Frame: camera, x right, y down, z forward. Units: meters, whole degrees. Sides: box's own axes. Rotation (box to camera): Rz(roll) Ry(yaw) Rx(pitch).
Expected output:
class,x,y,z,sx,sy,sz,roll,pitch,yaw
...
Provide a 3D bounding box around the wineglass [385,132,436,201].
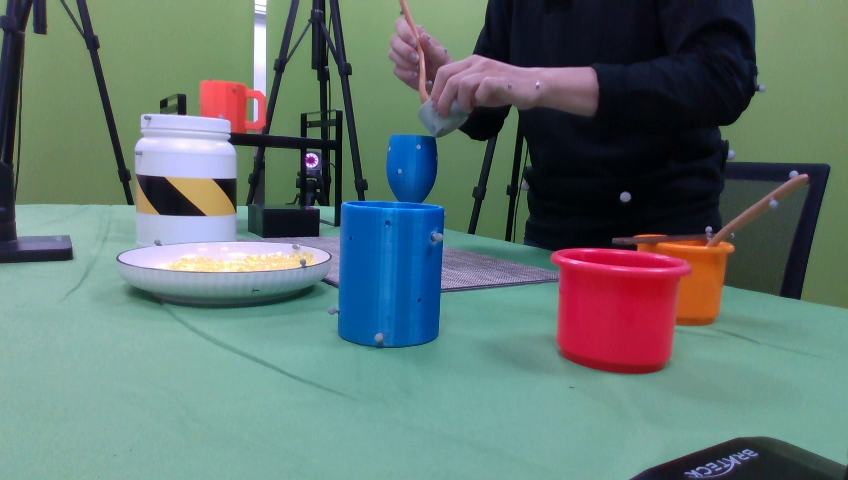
class,x,y,z,sx,sy,sz,roll,pitch,yaw
wineglass,-0.020,-0.061,0.838,0.074,0.172,0.073,2,7,0

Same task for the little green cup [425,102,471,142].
class,x,y,z,sx,sy,sz,roll,pitch,yaw
little green cup,0.030,-0.152,0.786,0.061,0.038,0.061,5,-6,1

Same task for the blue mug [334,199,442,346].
class,x,y,z,sx,sy,sz,roll,pitch,yaw
blue mug,-0.034,0.020,0.498,0.083,0.106,0.116,0,7,-20

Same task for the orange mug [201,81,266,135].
class,x,y,z,sx,sy,sz,roll,pitch,yaw
orange mug,-0.376,-0.260,1.198,0.126,0.101,0.083,-3,8,-6

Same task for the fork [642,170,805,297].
class,x,y,z,sx,sy,sz,roll,pitch,yaw
fork,0.261,0.003,0.545,0.028,0.018,0.207,5,-37,-15

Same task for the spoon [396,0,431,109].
class,x,y,z,sx,sy,sz,roll,pitch,yaw
spoon,-0.010,-0.247,0.800,0.021,0.193,0.042,-14,-10,8

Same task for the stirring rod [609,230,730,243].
class,x,y,z,sx,sy,sz,roll,pitch,yaw
stirring rod,0.241,-0.004,0.582,0.177,0.006,0.014,-4,10,-33

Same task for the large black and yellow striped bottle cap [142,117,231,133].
class,x,y,z,sx,sy,sz,roll,pitch,yaw
large black and yellow striped bottle cap,-0.328,-0.159,0.839,0.115,0.019,0.115,1,9,0

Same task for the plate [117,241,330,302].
class,x,y,z,sx,sy,sz,roll,pitch,yaw
plate,-0.203,0.031,0.630,0.209,0.038,0.209,3,7,0

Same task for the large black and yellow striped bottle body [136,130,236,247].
class,x,y,z,sx,sy,sz,roll,pitch,yaw
large black and yellow striped bottle body,-0.332,-0.076,0.851,0.131,0.184,0.130,3,8,0

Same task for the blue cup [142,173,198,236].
class,x,y,z,sx,sy,sz,roll,pitch,yaw
blue cup,-0.425,-0.060,1.014,0.093,0.100,0.092,4,9,0
